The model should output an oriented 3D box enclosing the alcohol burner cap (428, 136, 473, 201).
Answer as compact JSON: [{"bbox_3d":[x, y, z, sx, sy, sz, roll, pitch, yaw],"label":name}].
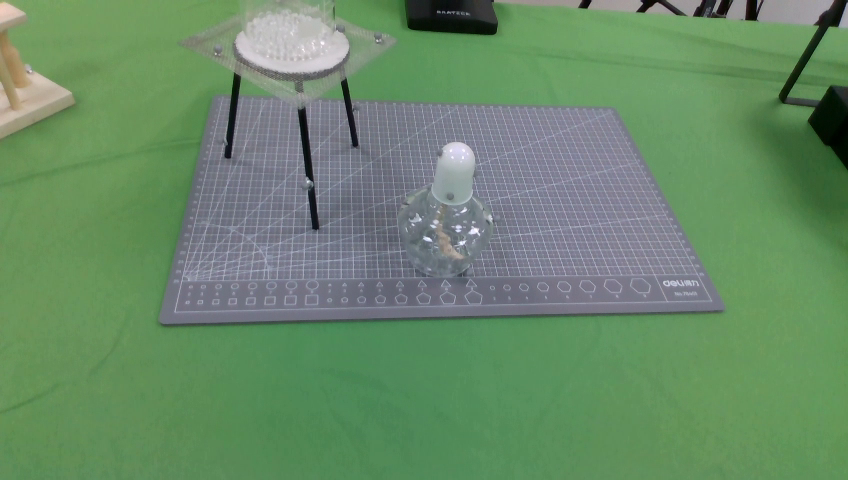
[{"bbox_3d":[0.021,-0.055,0.449,0.034,0.048,0.033,3,51,-3],"label":"alcohol burner cap"}]

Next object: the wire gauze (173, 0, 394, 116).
[{"bbox_3d":[-0.105,-0.155,0.471,0.124,0.011,0.121,32,53,15],"label":"wire gauze"}]

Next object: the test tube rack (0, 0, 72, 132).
[{"bbox_3d":[-0.440,-0.117,0.510,0.066,0.086,0.241,29,49,18],"label":"test tube rack"}]

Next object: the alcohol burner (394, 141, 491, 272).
[{"bbox_3d":[0.017,-0.031,0.476,0.078,0.120,0.077,6,46,-5],"label":"alcohol burner"}]

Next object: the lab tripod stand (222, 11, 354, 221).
[{"bbox_3d":[-0.110,-0.111,0.518,0.148,0.132,0.147,6,47,-6],"label":"lab tripod stand"}]

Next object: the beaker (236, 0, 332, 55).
[{"bbox_3d":[-0.104,-0.193,0.438,0.073,0.101,0.084,36,54,22],"label":"beaker"}]
